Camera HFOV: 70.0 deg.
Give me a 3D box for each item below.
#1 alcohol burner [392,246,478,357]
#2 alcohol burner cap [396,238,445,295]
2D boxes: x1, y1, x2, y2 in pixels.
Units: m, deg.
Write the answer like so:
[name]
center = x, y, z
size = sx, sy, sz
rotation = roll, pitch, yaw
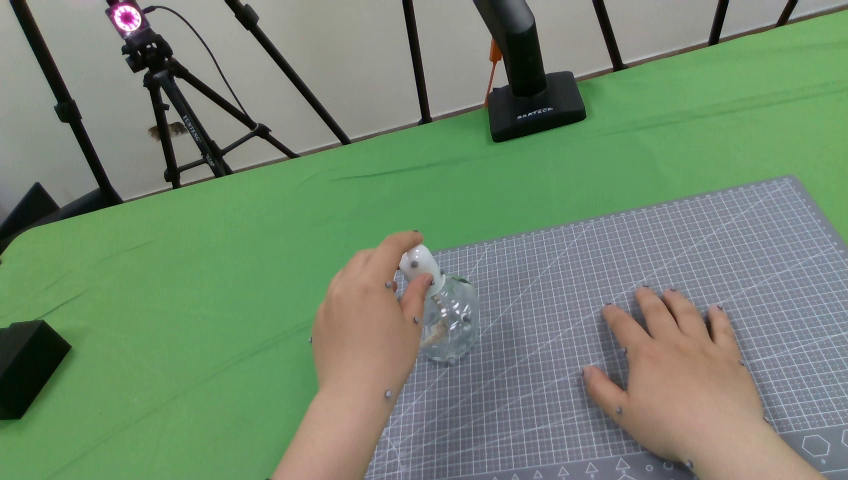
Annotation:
[alcohol burner]
center = 0.005, 0.045, 0.517
size = 0.078, 0.120, 0.077
rotation = -11, 41, 10
[alcohol burner cap]
center = -0.005, 0.019, 0.494
size = 0.034, 0.048, 0.033
rotation = -12, 46, 13
